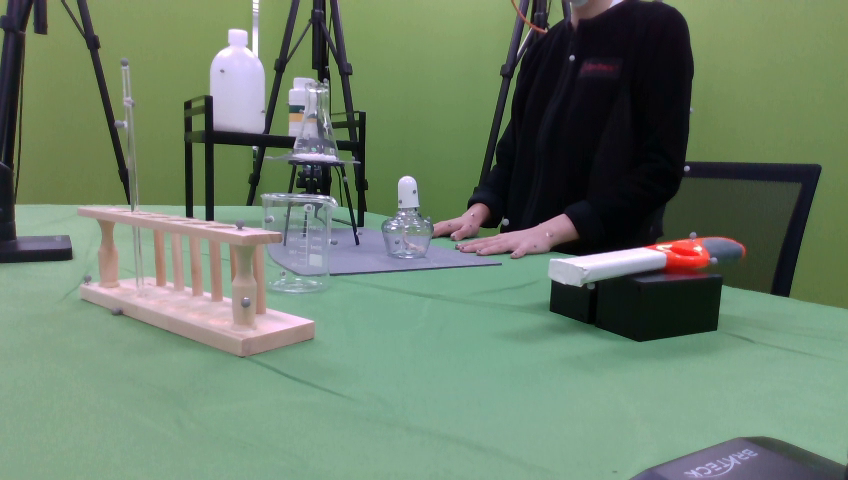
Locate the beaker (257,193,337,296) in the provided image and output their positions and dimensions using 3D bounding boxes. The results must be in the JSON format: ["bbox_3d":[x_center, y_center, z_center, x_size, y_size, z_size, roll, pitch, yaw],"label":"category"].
[{"bbox_3d":[-0.130,0.004,0.628,0.084,0.100,0.074,5,8,15],"label":"beaker"}]

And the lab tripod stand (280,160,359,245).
[{"bbox_3d":[-0.176,-0.062,0.973,0.148,0.131,0.148,1,7,0],"label":"lab tripod stand"}]

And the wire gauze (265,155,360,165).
[{"bbox_3d":[-0.181,-0.128,0.969,0.126,0.011,0.121,-3,7,-26],"label":"wire gauze"}]

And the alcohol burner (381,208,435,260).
[{"bbox_3d":[-0.023,-0.032,0.872,0.078,0.119,0.078,0,6,0],"label":"alcohol burner"}]

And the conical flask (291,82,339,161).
[{"bbox_3d":[-0.171,-0.185,0.957,0.075,0.122,0.075,2,7,0],"label":"conical flask"}]

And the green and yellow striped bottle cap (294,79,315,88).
[{"bbox_3d":[-0.248,-0.323,1.256,0.045,0.020,0.045,3,9,0],"label":"green and yellow striped bottle cap"}]

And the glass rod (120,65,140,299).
[{"bbox_3d":[-0.249,-0.047,0.513,0.008,0.199,0.008,-1,4,0],"label":"glass rod"}]

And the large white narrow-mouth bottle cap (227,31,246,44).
[{"bbox_3d":[-0.361,-0.388,1.165,0.038,0.024,0.037,1,7,0],"label":"large white narrow-mouth bottle cap"}]

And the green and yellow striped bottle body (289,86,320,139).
[{"bbox_3d":[-0.250,-0.272,1.261,0.063,0.119,0.063,3,7,0],"label":"green and yellow striped bottle body"}]

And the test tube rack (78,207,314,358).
[{"bbox_3d":[-0.196,0.024,0.499,0.241,0.085,0.067,8,8,37],"label":"test tube rack"}]

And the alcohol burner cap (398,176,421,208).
[{"bbox_3d":[-0.023,-0.068,0.866,0.034,0.048,0.034,-4,7,1],"label":"alcohol burner cap"}]

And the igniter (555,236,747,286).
[{"bbox_3d":[0.221,0.017,0.558,0.278,0.025,0.057,-5,15,-39],"label":"igniter"}]

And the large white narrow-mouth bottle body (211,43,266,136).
[{"bbox_3d":[-0.361,-0.302,1.176,0.102,0.194,0.102,1,7,0],"label":"large white narrow-mouth bottle body"}]
